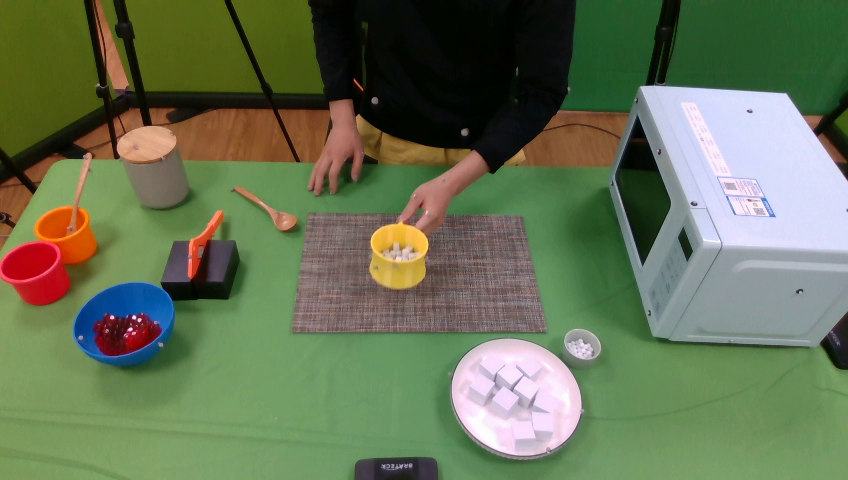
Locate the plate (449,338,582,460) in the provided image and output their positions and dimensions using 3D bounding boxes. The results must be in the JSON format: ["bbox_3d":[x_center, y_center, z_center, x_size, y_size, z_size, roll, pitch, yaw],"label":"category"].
[{"bbox_3d":[0.141,0.251,0.956,0.208,0.039,0.206,2,46,-2],"label":"plate"}]

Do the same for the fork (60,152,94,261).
[{"bbox_3d":[-0.638,-0.063,1.119,0.028,0.018,0.207,12,90,7],"label":"fork"}]

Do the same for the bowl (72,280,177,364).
[{"bbox_3d":[-0.472,0.147,0.982,0.151,0.077,0.150,2,46,-2],"label":"bowl"}]

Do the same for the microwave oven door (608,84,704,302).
[{"bbox_3d":[0.424,-0.096,1.138,0.039,0.245,0.353,3,46,-1],"label":"microwave oven door"}]

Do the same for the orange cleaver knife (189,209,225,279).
[{"bbox_3d":[-0.400,0.002,1.122,0.012,0.077,0.210,4,23,-4],"label":"orange cleaver knife"}]

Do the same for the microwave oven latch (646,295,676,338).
[{"bbox_3d":[0.412,0.133,1.060,0.030,0.029,0.078,3,46,0],"label":"microwave oven latch"}]

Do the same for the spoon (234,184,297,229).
[{"bbox_3d":[-0.327,-0.073,1.239,0.193,0.022,0.041,34,70,25],"label":"spoon"}]

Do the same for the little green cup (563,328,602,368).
[{"bbox_3d":[0.265,0.184,1.025,0.061,0.039,0.061,1,46,-1],"label":"little green cup"}]

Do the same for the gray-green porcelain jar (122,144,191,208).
[{"bbox_3d":[-0.531,-0.136,1.213,0.106,0.127,0.105,2,46,-2],"label":"gray-green porcelain jar"}]

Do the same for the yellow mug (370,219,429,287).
[{"bbox_3d":[-0.043,0.014,1.061,0.100,0.064,0.130,3,41,-3],"label":"yellow mug"}]

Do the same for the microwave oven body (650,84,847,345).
[{"bbox_3d":[0.569,-0.054,1.116,0.326,0.261,0.439,2,46,-1],"label":"microwave oven body"}]

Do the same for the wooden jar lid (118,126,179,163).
[{"bbox_3d":[-0.528,-0.181,1.167,0.108,0.021,0.107,3,47,-4],"label":"wooden jar lid"}]
